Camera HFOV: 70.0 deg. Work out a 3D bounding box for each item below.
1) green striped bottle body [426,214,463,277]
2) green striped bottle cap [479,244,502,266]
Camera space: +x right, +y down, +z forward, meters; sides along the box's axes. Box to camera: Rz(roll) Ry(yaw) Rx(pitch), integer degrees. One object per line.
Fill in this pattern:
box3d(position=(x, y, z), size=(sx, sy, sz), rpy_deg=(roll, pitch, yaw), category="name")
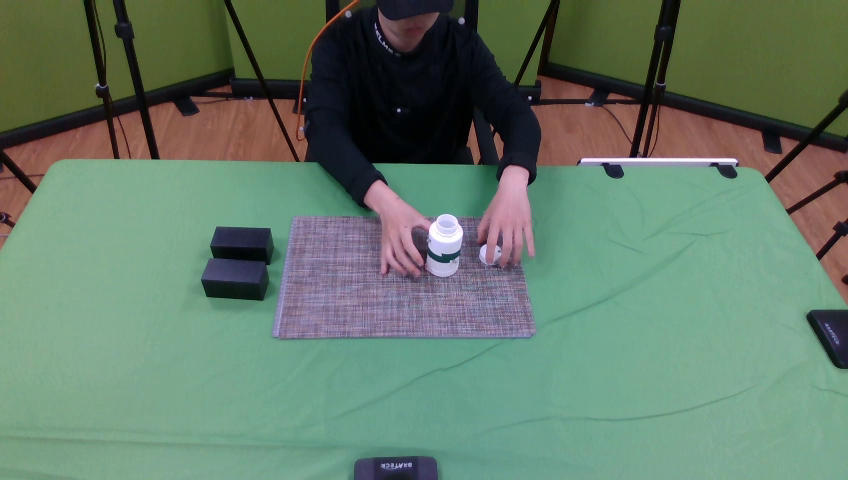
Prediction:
box3d(position=(0.037, 0.008, 1.121), size=(0.063, 0.120, 0.063), rpy_deg=(2, 46, -2), category="green striped bottle body")
box3d(position=(0.130, 0.028, 1.182), size=(0.044, 0.020, 0.044), rpy_deg=(-1, 48, 1), category="green striped bottle cap")
